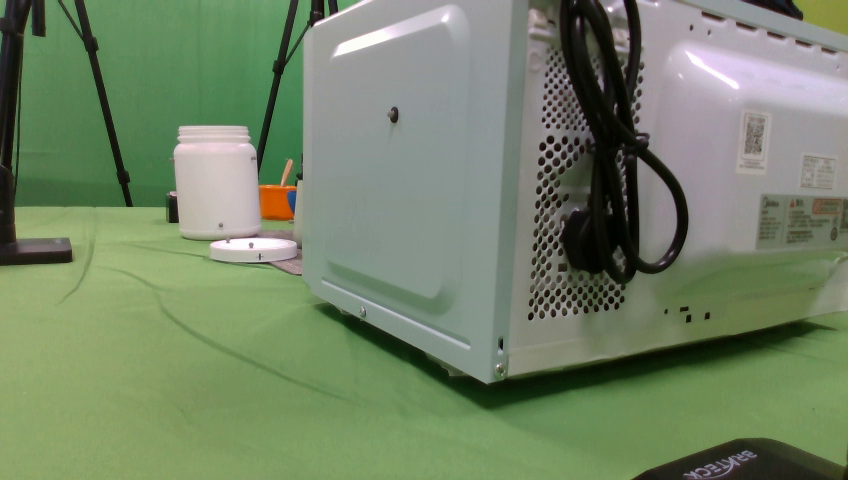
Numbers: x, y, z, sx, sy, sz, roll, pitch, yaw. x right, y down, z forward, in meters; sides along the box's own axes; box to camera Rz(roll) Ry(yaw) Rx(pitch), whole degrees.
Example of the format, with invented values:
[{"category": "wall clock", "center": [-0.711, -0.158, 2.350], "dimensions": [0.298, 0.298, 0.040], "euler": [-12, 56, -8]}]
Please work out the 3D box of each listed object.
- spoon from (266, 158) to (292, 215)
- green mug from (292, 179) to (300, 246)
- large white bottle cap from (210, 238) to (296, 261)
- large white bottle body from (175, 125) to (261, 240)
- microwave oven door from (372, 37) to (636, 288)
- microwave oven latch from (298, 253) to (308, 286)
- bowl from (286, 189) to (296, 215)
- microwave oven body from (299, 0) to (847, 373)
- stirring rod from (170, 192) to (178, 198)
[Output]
[{"category": "spoon", "center": [-0.334, -0.127, 1.423], "dimensions": [0.041, 0.193, 0.021], "euler": [1, -37, 6]}, {"category": "green mug", "center": [-0.142, -0.040, 0.942], "dimensions": [0.126, 0.105, 0.092], "euler": [-2, 8, -33]}, {"category": "large white bottle cap", "center": [-0.236, 0.013, 0.839], "dimensions": [0.115, 0.018, 0.115], "euler": [2, 7, 0]}, {"category": "large white bottle body", "center": [-0.349, -0.100, 1.024], "dimensions": [0.131, 0.184, 0.130], "euler": [-1, 9, 0]}, {"category": "microwave oven door", "center": [0.110, -0.080, 0.686], "dimensions": [0.358, 0.243, 0.039], "euler": [-2, 9, -33]}, {"category": "microwave oven latch", "center": [-0.081, 0.028, 0.581], "dimensions": [0.079, 0.029, 0.030], "euler": [-1, 7, -31]}, {"category": "bowl", "center": [-0.179, -0.051, 1.115], "dimensions": [0.151, 0.077, 0.151], "euler": [3, 8, 0]}, {"category": "microwave oven body", "center": [0.152, -0.055, 0.542], "dimensions": [0.444, 0.260, 0.324], "euler": [-2, 7, -33]}, {"category": "stirring rod", "center": [-0.465, -0.098, 1.283], "dimensions": [0.014, 0.006, 0.177], "euler": [42, 21, 17]}]
